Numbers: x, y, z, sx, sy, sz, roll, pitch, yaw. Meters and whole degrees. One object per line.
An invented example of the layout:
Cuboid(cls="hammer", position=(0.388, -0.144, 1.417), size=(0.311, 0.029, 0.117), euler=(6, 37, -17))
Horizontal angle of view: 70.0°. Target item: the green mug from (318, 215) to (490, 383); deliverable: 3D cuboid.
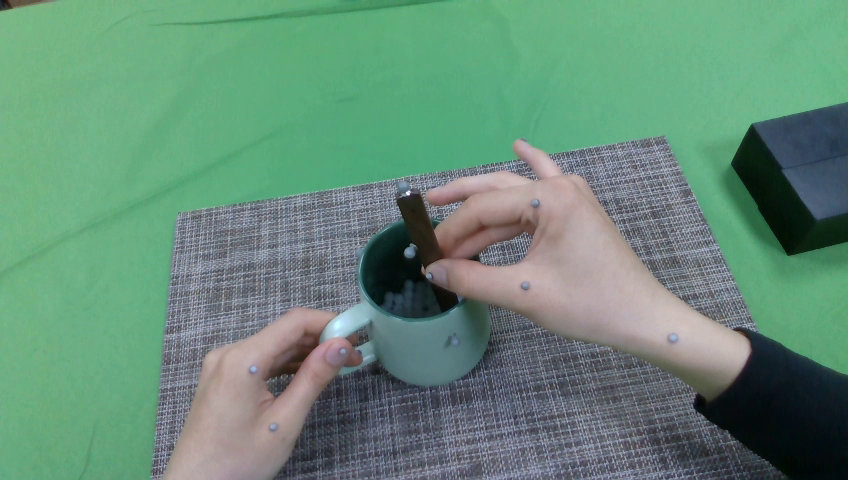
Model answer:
Cuboid(cls="green mug", position=(-0.014, 0.051, 0.420), size=(0.125, 0.106, 0.091), euler=(-29, 60, -13))

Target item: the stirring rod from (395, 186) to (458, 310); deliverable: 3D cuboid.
Cuboid(cls="stirring rod", position=(0.008, 0.020, 0.378), size=(0.014, 0.178, 0.005), euler=(-17, 57, 3))
